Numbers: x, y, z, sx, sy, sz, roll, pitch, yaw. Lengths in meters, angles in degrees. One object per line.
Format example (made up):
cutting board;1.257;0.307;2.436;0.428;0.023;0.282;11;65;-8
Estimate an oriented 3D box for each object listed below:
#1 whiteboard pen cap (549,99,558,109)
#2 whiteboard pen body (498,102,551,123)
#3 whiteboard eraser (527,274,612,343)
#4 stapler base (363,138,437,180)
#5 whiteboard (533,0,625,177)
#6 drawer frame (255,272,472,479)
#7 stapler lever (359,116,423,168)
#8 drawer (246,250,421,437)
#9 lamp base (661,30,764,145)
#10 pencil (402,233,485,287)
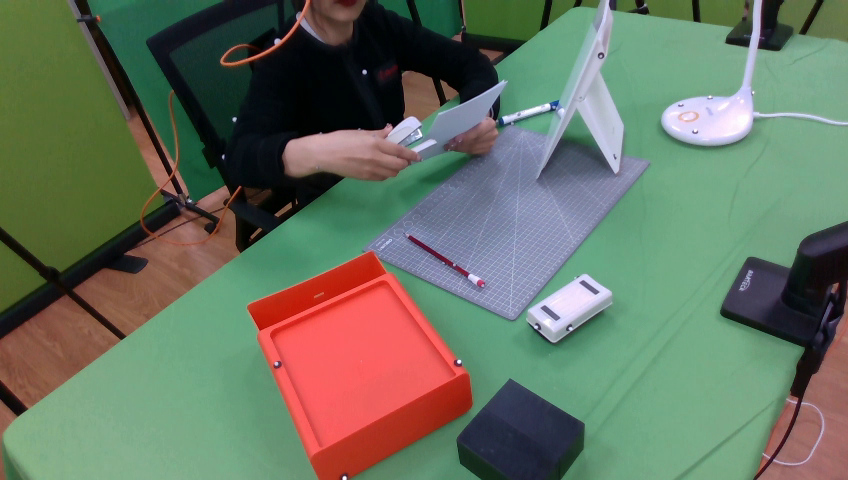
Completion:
whiteboard pen cap;0.275;-0.286;1.267;0.033;0.018;0.018;-17;41;-12
whiteboard pen body;0.220;-0.268;1.256;0.141;0.017;0.017;-19;41;-12
whiteboard eraser;0.198;0.094;0.820;0.113;0.042;0.055;-30;43;-22
stapler base;-0.042;-0.136;0.973;0.130;0.024;0.041;-28;-3;4
whiteboard;0.321;-0.258;1.049;0.144;0.306;0.217;20;45;4
drawer frame;-0.079;0.161;0.760;0.202;0.083;0.211;-24;43;-18
stapler lever;-0.056;-0.158;0.973;0.118;0.040;0.027;-29;-2;3
drawer;-0.109;0.129;0.804;0.195;0.073;0.210;-23;42;-18
lamp base;0.535;-0.287;1.096;0.179;0.181;0.159;-10;40;-4
pencil;0.026;0.028;0.949;0.012;0.012;0.192;-34;44;-26
